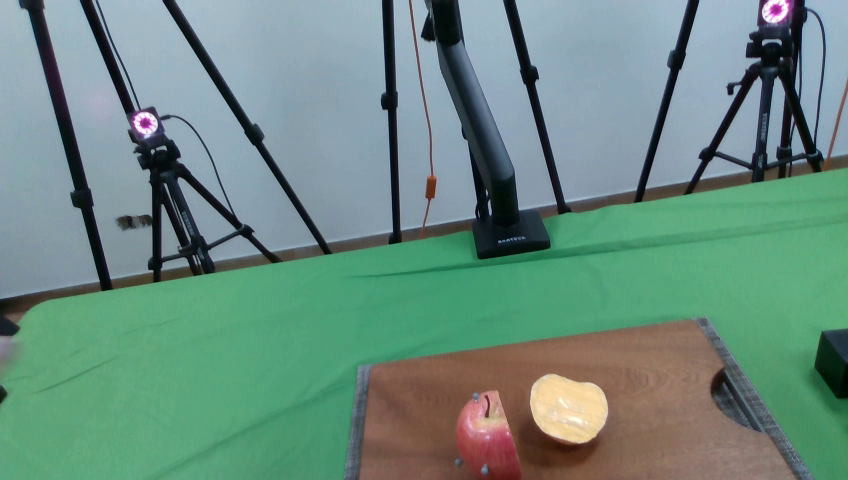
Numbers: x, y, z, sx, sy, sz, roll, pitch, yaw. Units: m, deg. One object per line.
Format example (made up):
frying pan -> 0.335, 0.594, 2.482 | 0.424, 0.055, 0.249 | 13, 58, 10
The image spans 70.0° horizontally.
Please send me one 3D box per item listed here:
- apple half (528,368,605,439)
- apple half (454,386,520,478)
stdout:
apple half -> 0.142, 0.172, 0.616 | 0.081, 0.033, 0.080 | -2, 44, 2
apple half -> 0.057, 0.188, 0.579 | 0.053, 0.075, 0.080 | -17, 34, 0
